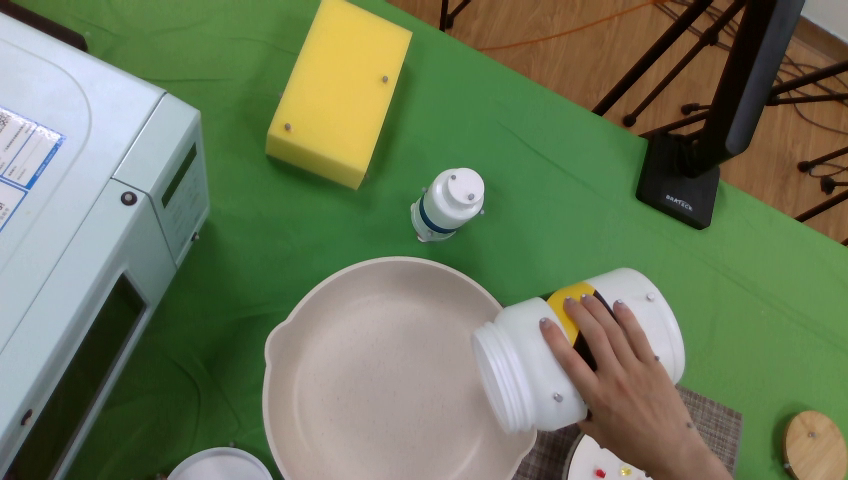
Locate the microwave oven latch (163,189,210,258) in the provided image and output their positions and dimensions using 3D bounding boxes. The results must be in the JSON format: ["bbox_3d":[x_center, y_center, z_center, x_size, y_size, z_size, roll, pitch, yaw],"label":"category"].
[{"bbox_3d":[-0.256,-0.022,0.641,0.030,0.029,0.079,28,70,-9],"label":"microwave oven latch"}]

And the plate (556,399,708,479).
[{"bbox_3d":[0.249,0.302,0.736,0.210,0.038,0.208,5,74,-16],"label":"plate"}]

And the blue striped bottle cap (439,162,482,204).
[{"bbox_3d":[0.041,-0.063,0.669,0.045,0.020,0.044,4,76,-16],"label":"blue striped bottle cap"}]

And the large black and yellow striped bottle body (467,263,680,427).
[{"bbox_3d":[0.147,0.111,0.624,0.184,0.131,0.130,-18,81,-7],"label":"large black and yellow striped bottle body"}]

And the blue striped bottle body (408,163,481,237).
[{"bbox_3d":[0.026,-0.049,0.716,0.063,0.121,0.062,5,74,-16],"label":"blue striped bottle body"}]

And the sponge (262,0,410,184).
[{"bbox_3d":[-0.105,-0.189,0.742,0.119,0.061,0.206,20,71,-12],"label":"sponge"}]

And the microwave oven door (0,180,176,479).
[{"bbox_3d":[-0.305,0.142,0.472,0.039,0.244,0.354,25,69,-9],"label":"microwave oven door"}]

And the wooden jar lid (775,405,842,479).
[{"bbox_3d":[0.535,0.286,0.847,0.109,0.021,0.108,4,75,-16],"label":"wooden jar lid"}]

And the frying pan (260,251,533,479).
[{"bbox_3d":[-0.059,0.246,0.615,0.308,0.103,0.484,24,61,-8],"label":"frying pan"}]

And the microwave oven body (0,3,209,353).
[{"bbox_3d":[-0.422,0.044,0.465,0.327,0.260,0.439,25,70,-10],"label":"microwave oven body"}]
